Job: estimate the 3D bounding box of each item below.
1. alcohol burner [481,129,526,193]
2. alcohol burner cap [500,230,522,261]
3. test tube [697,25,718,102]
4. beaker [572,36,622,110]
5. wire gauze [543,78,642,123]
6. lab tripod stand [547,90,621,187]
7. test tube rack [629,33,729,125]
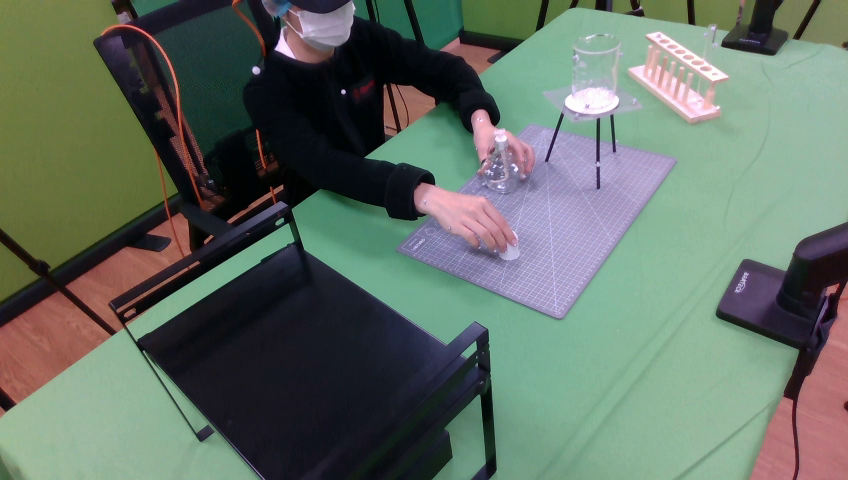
[{"bbox_3d":[0.138,-0.142,1.052,0.078,0.119,0.077,-5,42,5],"label":"alcohol burner"},{"bbox_3d":[0.134,0.005,0.937,0.034,0.048,0.033,-5,41,5],"label":"alcohol burner cap"},{"bbox_3d":[0.546,-0.337,1.166,0.017,0.151,0.017,-5,36,4],"label":"test tube"},{"bbox_3d":[0.279,-0.274,0.992,0.074,0.101,0.083,-14,40,-5],"label":"beaker"},{"bbox_3d":[0.282,-0.234,1.021,0.125,0.011,0.120,-17,38,-4],"label":"wire gauze"},{"bbox_3d":[0.289,-0.184,1.062,0.148,0.132,0.147,-6,41,6],"label":"lab tripod stand"},{"bbox_3d":[0.516,-0.337,1.247,0.067,0.085,0.240,-14,41,-7],"label":"test tube rack"}]
